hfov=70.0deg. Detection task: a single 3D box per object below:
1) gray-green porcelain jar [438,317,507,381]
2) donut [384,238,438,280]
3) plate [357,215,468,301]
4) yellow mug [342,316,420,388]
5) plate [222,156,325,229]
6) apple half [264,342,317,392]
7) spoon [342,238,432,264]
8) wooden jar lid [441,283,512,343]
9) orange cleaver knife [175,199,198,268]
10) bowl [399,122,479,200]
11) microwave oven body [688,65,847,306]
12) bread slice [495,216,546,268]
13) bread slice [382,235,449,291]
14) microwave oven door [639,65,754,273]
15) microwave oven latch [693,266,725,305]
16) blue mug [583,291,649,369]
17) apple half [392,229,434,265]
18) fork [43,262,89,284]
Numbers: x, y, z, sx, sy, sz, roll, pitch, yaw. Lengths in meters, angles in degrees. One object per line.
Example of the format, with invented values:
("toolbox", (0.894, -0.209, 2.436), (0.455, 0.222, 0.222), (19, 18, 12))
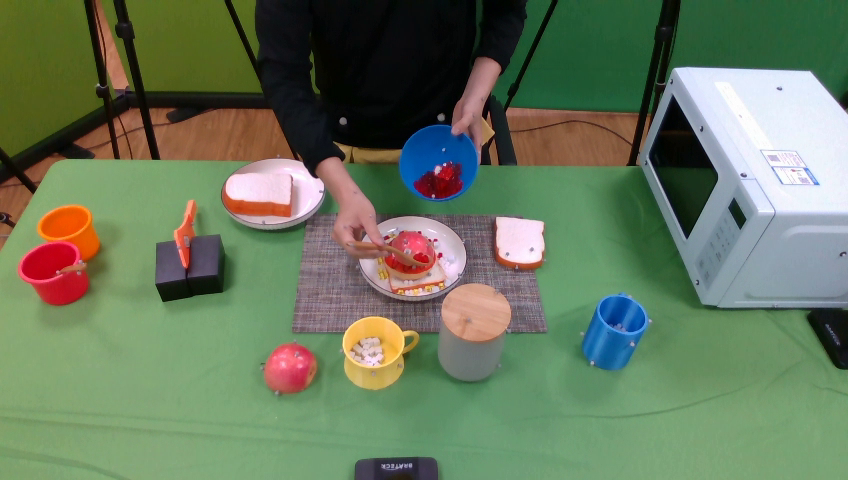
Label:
("gray-green porcelain jar", (0.076, 0.158, 0.977), (0.106, 0.127, 0.105), (2, 47, -2))
("donut", (-0.025, 0.030, 1.110), (0.099, 0.048, 0.098), (2, 47, -2))
("plate", (-0.022, 0.037, 1.141), (0.208, 0.039, 0.206), (2, 46, -2))
("yellow mug", (-0.067, 0.177, 0.991), (0.131, 0.064, 0.099), (-16, 50, -19))
("plate", (-0.308, -0.095, 1.251), (0.209, 0.038, 0.208), (2, 47, -2))
("apple half", (-0.214, 0.198, 0.970), (0.074, 0.053, 0.080), (19, 48, 10))
("spoon", (-0.057, 0.015, 0.984), (0.195, 0.021, 0.041), (18, 15, -47))
("wooden jar lid", (0.080, 0.114, 0.931), (0.108, 0.021, 0.107), (1, 49, -1))
("orange cleaver knife", (-0.438, -0.017, 1.138), (0.012, 0.077, 0.210), (-13, 27, -7))
("bowl", (0.032, -0.140, 1.160), (0.151, 0.077, 0.151), (-1, 79, 8))
("microwave oven body", (0.669, -0.111, 1.176), (0.326, 0.261, 0.439), (0, 46, -3))
("bread slice", (0.194, 0.002, 1.205), (0.105, 0.019, 0.131), (5, 45, 2))
("bread slice", (-0.026, 0.038, 1.139), (0.107, 0.018, 0.133), (-12, 46, -15))
("microwave oven door", (0.522, -0.147, 1.193), (0.039, 0.245, 0.353), (0, 47, -3))
("microwave oven latch", (0.523, 0.082, 1.115), (0.030, 0.029, 0.078), (3, 46, 0))
("blue mug", (0.324, 0.142, 1.023), (0.082, 0.106, 0.116), (15, 47, 11))
("apple half", (-0.020, 0.005, 1.083), (0.081, 0.033, 0.081), (6, 47, -7))
("fork", (-0.599, 0.053, 1.013), (0.207, 0.019, 0.028), (-14, 30, 45))
